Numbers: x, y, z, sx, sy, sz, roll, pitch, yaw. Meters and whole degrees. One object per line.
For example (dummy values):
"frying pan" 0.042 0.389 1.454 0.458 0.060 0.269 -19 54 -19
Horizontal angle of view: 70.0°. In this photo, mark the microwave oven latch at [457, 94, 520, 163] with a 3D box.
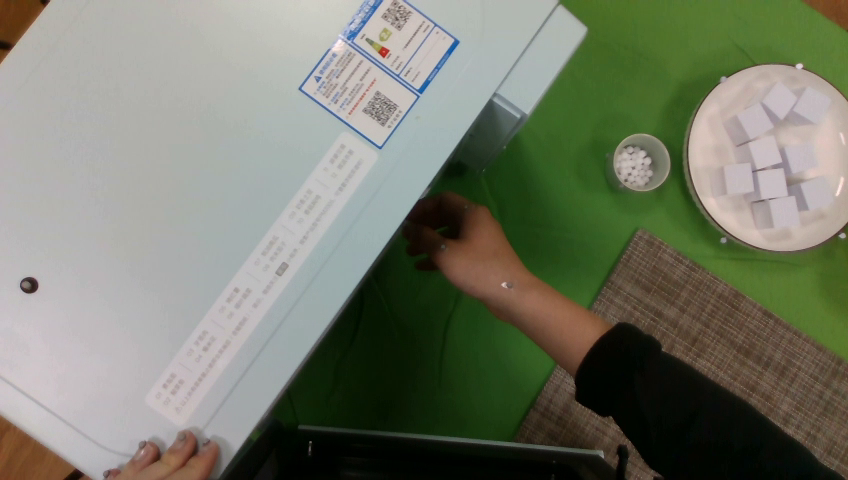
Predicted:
"microwave oven latch" 0.068 -0.120 0.627 0.030 0.029 0.079 40 86 -2

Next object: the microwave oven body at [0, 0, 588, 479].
"microwave oven body" -0.149 -0.066 0.513 0.326 0.260 0.441 36 86 -2

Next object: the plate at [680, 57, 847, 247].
"plate" 0.379 -0.095 0.668 0.208 0.039 0.207 0 88 -4

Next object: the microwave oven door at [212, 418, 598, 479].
"microwave oven door" 0.014 0.209 0.509 0.356 0.244 0.039 6 86 -4

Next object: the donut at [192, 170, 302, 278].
"donut" -0.160 -0.015 0.552 0.099 0.048 0.099 0 90 -5

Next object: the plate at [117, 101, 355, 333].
"plate" -0.168 -0.020 0.557 0.209 0.038 0.209 0 91 -6

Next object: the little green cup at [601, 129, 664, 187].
"little green cup" 0.223 -0.086 0.655 0.061 0.038 0.061 0 89 -4

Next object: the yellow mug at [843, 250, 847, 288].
"yellow mug" 0.529 0.048 0.659 0.100 0.064 0.130 -4 89 -5
